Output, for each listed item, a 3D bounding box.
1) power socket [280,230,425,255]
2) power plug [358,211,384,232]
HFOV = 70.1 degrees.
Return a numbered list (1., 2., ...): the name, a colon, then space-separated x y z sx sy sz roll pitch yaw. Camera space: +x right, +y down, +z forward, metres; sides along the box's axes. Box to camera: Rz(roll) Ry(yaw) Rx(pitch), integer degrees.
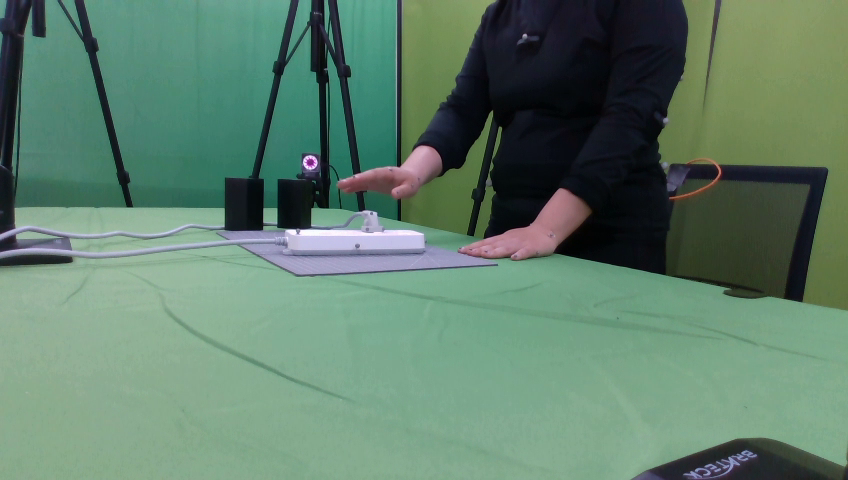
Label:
1. power socket: -0.105 0.002 0.920 0.228 0.032 0.072 -1 7 -23
2. power plug: -0.084 -0.020 0.958 0.035 0.052 0.072 1 5 -12
